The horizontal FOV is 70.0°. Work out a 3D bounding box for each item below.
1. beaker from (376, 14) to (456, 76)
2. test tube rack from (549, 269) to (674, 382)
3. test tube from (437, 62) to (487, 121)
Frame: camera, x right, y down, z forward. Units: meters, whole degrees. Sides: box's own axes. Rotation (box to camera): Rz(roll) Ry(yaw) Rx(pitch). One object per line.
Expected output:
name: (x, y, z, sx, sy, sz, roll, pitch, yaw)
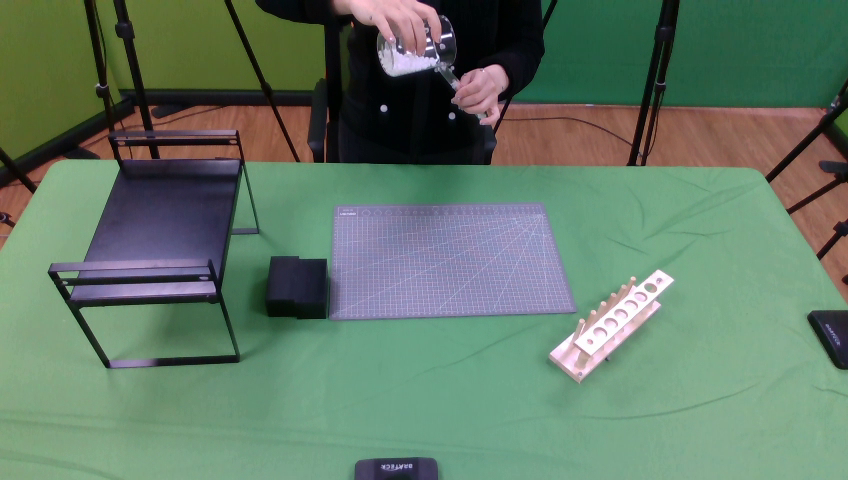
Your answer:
beaker: (-0.014, -0.285, 0.900, 0.100, 0.084, 0.073, -18, 47, -19)
test tube rack: (0.325, 0.134, 1.047, 0.242, 0.085, 0.066, -32, 56, -30)
test tube: (0.065, -0.241, 0.997, 0.017, 0.151, 0.017, -16, 59, 28)
